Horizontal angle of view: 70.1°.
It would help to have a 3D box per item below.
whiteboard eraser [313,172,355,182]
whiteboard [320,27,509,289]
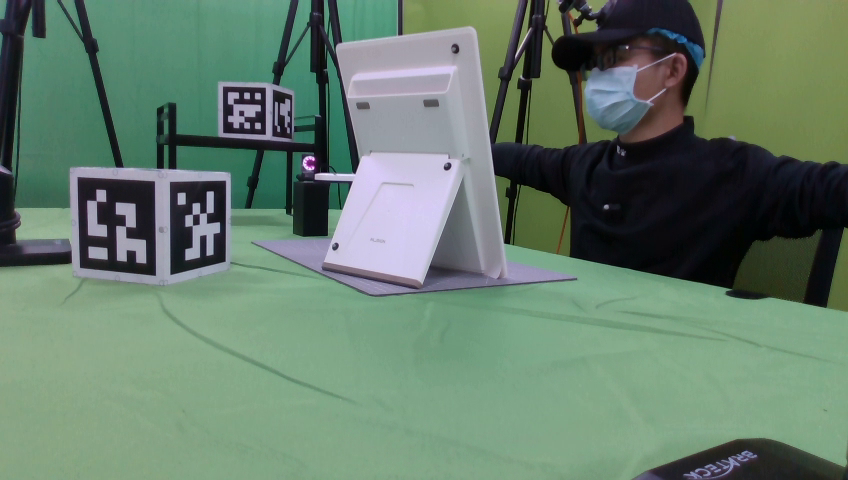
[{"bbox_3d":[-0.163,-0.121,1.158,0.102,0.019,0.041,-1,6,-33],"label":"whiteboard eraser"},{"bbox_3d":[-0.045,-0.076,0.721,0.216,0.305,0.144,9,29,39],"label":"whiteboard"}]
